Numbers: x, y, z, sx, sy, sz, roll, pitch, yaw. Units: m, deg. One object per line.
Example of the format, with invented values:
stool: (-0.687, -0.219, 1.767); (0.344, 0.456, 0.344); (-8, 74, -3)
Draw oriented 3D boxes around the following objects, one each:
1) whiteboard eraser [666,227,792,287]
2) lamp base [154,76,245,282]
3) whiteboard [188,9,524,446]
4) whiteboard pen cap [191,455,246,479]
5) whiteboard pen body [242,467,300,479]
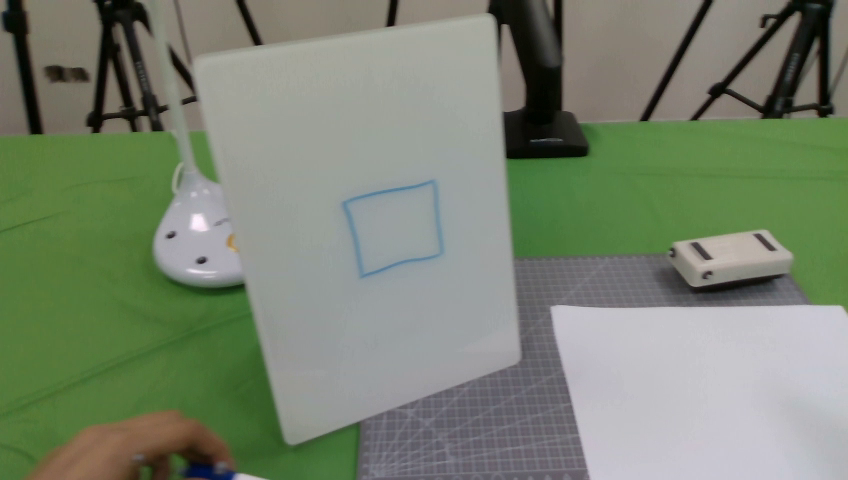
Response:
whiteboard eraser: (0.319, 0.019, 0.637); (0.113, 0.042, 0.055); (-7, 40, -9)
lamp base: (-0.229, -0.073, 0.643); (0.177, 0.182, 0.160); (25, 45, 31)
whiteboard: (-0.052, -0.021, 0.525); (0.218, 0.307, 0.142); (-15, 22, -17)
whiteboard pen cap: (-0.134, 0.152, 0.397); (0.033, 0.018, 0.018); (18, 38, -10)
whiteboard pen body: (-0.077, 0.170, 0.404); (0.141, 0.017, 0.017); (18, 38, -7)
